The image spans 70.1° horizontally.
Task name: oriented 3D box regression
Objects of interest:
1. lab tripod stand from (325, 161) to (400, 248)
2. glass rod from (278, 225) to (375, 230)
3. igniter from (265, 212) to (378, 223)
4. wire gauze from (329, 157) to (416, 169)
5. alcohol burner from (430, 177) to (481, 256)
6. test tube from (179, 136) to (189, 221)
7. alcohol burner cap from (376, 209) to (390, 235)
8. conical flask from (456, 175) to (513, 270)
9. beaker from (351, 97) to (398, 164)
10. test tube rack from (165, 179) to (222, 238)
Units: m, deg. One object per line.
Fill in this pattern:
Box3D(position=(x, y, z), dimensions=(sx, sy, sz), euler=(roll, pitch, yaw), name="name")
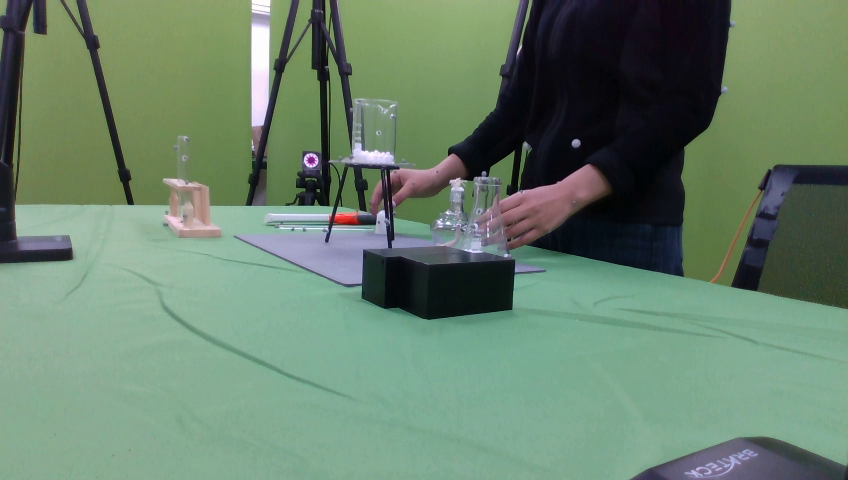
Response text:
Box3D(position=(-0.083, -0.059, 0.977), dimensions=(0.148, 0.131, 0.148), euler=(4, 8, 0), name="lab tripod stand")
Box3D(position=(-0.186, -0.024, 1.178), dimensions=(0.201, 0.008, 0.008), euler=(1, 6, -31), name="glass rod")
Box3D(position=(-0.195, -0.048, 1.285), dimensions=(0.278, 0.025, 0.057), euler=(-2, -2, -30), name="igniter")
Box3D(position=(-0.079, -0.125, 0.972), dimensions=(0.121, 0.011, 0.125), euler=(6, 6, 5), name="wire gauze")
Box3D(position=(0.049, -0.036, 0.913), dimensions=(0.078, 0.119, 0.078), euler=(4, 9, 0), name="alcohol burner")
Box3D(position=(-0.425, -0.108, 1.070), dimensions=(0.017, 0.150, 0.017), euler=(4, 9, 0), name="test tube")
Box3D(position=(-0.076, -0.035, 1.144), dimensions=(0.034, 0.048, 0.034), euler=(0, 7, 0), name="alcohol burner cap")
Box3D(position=(0.083, -0.025, 0.801), dimensions=(0.075, 0.122, 0.075), euler=(2, 7, 0), name="conical flask")
Box3D(position=(-0.078, -0.172, 0.962), dimensions=(0.074, 0.100, 0.084), euler=(6, 8, 19), name="beaker")
Box3D(position=(-0.423, -0.062, 1.098), dimensions=(0.067, 0.085, 0.241), euler=(-2, 9, -28), name="test tube rack")
